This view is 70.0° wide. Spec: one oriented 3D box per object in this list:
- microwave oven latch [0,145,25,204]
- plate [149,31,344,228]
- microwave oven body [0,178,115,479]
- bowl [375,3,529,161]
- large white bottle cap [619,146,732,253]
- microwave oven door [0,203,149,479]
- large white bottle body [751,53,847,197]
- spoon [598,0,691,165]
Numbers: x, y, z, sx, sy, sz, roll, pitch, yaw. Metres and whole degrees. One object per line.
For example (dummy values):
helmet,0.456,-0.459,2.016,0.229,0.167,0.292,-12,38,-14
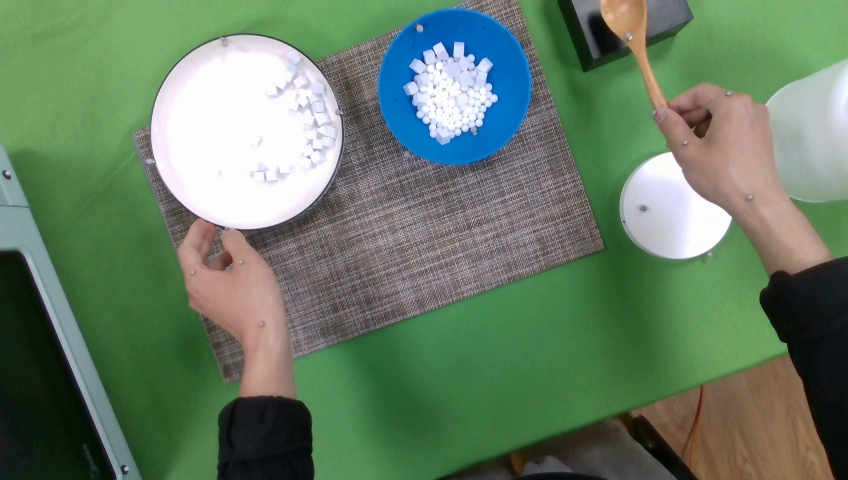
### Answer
microwave oven latch,-0.468,-0.074,0.658,0.030,0.029,0.079,-22,92,3
plate,-0.188,-0.116,0.655,0.209,0.038,0.209,0,92,3
microwave oven body,-0.544,0.148,0.575,0.326,0.260,0.441,-22,91,3
bowl,0.029,-0.153,0.622,0.151,0.077,0.151,0,92,4
large white bottle cap,0.269,-0.043,0.648,0.115,0.018,0.115,0,93,3
microwave oven door,-0.393,0.132,0.562,0.039,0.244,0.355,-23,91,4
large white bottle body,0.405,-0.109,0.555,0.130,0.184,0.130,0,92,3
spoon,0.203,-0.157,0.554,0.041,0.022,0.192,-22,74,30
